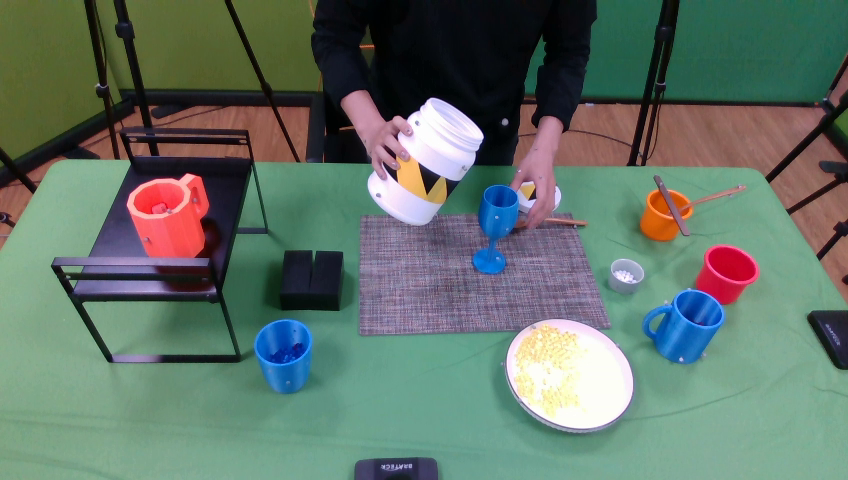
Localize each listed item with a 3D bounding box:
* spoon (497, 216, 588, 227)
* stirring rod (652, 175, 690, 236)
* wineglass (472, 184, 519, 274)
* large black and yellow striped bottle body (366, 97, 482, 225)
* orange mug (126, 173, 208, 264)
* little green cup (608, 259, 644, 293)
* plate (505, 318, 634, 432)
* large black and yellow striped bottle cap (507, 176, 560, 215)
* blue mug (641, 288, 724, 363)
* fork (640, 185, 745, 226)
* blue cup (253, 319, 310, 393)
[{"bbox_3d":[0.246,-0.039,1.247,0.194,0.022,0.041,-2,24,-6],"label":"spoon"},{"bbox_3d":[0.492,-0.072,1.211,0.014,0.006,0.175,-1,46,-6],"label":"stirring rod"},{"bbox_3d":[0.129,-0.018,1.113,0.074,0.173,0.073,2,46,-2],"label":"wineglass"},{"bbox_3d":[0.001,-0.131,1.007,0.131,0.184,0.130,30,26,-16],"label":"large black and yellow striped bottle body"},{"bbox_3d":[-0.371,-0.039,0.902,0.083,0.101,0.126,18,52,14],"label":"orange mug"},{"bbox_3d":[0.379,0.070,1.147,0.061,0.039,0.061,3,45,-3],"label":"little green cup"},{"bbox_3d":[0.235,0.221,0.991,0.209,0.038,0.208,2,45,-2],"label":"plate"},{"bbox_3d":[0.237,-0.098,1.312,0.115,0.019,0.114,2,43,-1],"label":"large black and yellow striped bottle cap"},{"bbox_3d":[0.432,0.144,1.033,0.116,0.106,0.082,8,46,5],"label":"blue mug"},{"bbox_3d":[0.534,-0.069,1.215,0.207,0.019,0.028,-26,28,33],"label":"fork"},{"bbox_3d":[-0.217,0.187,0.943,0.093,0.101,0.092,3,45,-3],"label":"blue cup"}]
